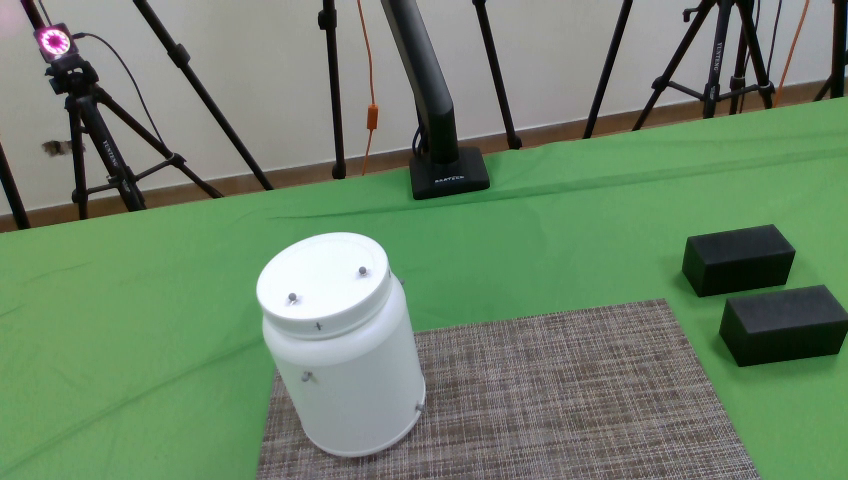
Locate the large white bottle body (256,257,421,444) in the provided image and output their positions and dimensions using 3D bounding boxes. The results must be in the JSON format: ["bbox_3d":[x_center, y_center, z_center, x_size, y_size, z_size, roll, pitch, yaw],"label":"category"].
[{"bbox_3d":[-0.078,0.089,0.575,0.130,0.186,0.129,-6,39,5],"label":"large white bottle body"}]

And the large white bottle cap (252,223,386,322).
[{"bbox_3d":[-0.090,0.025,0.522,0.115,0.018,0.113,-6,38,5],"label":"large white bottle cap"}]
